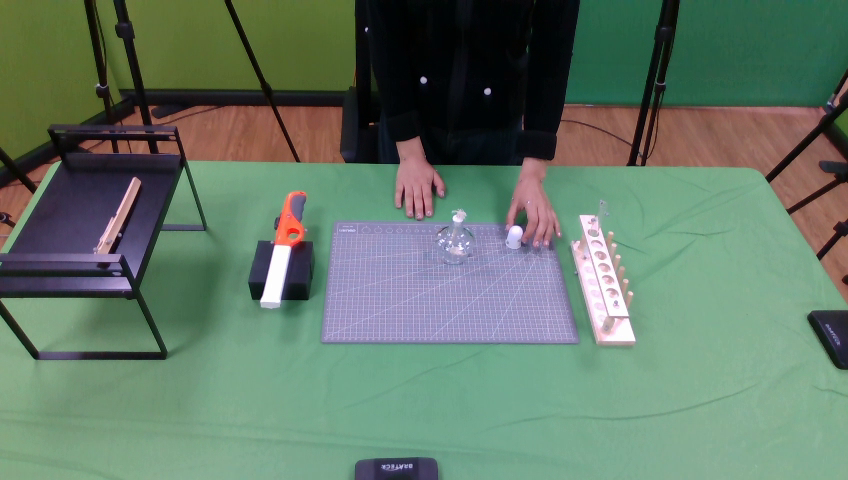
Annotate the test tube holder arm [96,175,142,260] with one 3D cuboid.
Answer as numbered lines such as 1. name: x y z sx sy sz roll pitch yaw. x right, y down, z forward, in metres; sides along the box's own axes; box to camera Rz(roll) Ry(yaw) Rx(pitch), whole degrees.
1. test tube holder arm: -0.473 -0.039 0.946 0.013 0.015 0.177 -18 43 19

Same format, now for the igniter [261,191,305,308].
1. igniter: -0.255 0.007 1.104 0.057 0.025 0.275 5 47 -4

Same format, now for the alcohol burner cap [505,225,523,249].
1. alcohol burner cap: 0.180 -0.008 1.203 0.034 0.048 0.033 2 47 -2

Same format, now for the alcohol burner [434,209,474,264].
1. alcohol burner: 0.058 -0.011 1.147 0.078 0.119 0.077 3 44 -3

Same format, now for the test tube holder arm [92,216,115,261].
1. test tube holder arm: -0.479 -0.004 0.917 0.010 0.015 0.087 -18 44 20

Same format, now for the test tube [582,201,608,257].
1. test tube: 0.316 -0.017 1.127 0.017 0.151 0.017 1 51 -1

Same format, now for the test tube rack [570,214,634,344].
1. test tube rack: 0.333 0.067 1.116 0.067 0.085 0.241 1 46 -3
